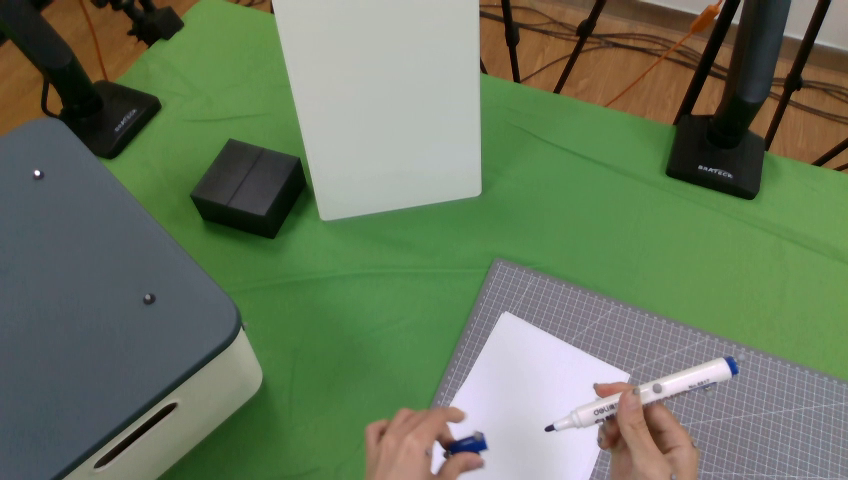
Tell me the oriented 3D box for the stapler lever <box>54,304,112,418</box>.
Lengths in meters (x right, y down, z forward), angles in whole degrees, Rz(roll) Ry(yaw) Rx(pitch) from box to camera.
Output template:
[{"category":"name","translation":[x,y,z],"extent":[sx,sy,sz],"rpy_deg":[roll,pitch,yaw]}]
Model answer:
[{"category":"stapler lever","translation":[-0.360,0.123,0.633],"extent":[0.027,0.040,0.117],"rpy_deg":[-8,57,18]}]

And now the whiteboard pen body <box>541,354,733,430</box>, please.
[{"category":"whiteboard pen body","translation":[0.150,0.112,0.433],"extent":[0.141,0.017,0.017],"rpy_deg":[-22,57,9]}]

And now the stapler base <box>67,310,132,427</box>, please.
[{"category":"stapler base","translation":[-0.354,0.133,0.653],"extent":[0.041,0.025,0.129],"rpy_deg":[-8,59,18]}]

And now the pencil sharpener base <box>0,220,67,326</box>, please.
[{"category":"pencil sharpener base","translation":[-0.466,0.036,0.669],"extent":[0.061,0.108,0.076],"rpy_deg":[32,63,20]}]

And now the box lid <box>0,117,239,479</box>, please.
[{"category":"box lid","translation":[-0.375,0.042,0.553],"extent":[0.368,0.015,0.263],"rpy_deg":[40,65,21]}]

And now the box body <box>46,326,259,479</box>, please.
[{"category":"box body","translation":[-0.374,0.084,0.614],"extent":[0.361,0.162,0.254],"rpy_deg":[39,65,22]}]

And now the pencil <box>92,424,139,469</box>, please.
[{"category":"pencil","translation":[-0.285,0.170,0.640],"extent":[0.012,0.012,0.193],"rpy_deg":[22,49,14]}]

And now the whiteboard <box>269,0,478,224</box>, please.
[{"category":"whiteboard","translation":[-0.055,-0.199,0.754],"extent":[0.217,0.308,0.142],"rpy_deg":[-9,38,-6]}]

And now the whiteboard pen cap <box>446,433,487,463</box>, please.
[{"category":"whiteboard pen cap","translation":[0.036,0.174,0.508],"extent":[0.033,0.018,0.018],"rpy_deg":[-19,58,-1]}]
